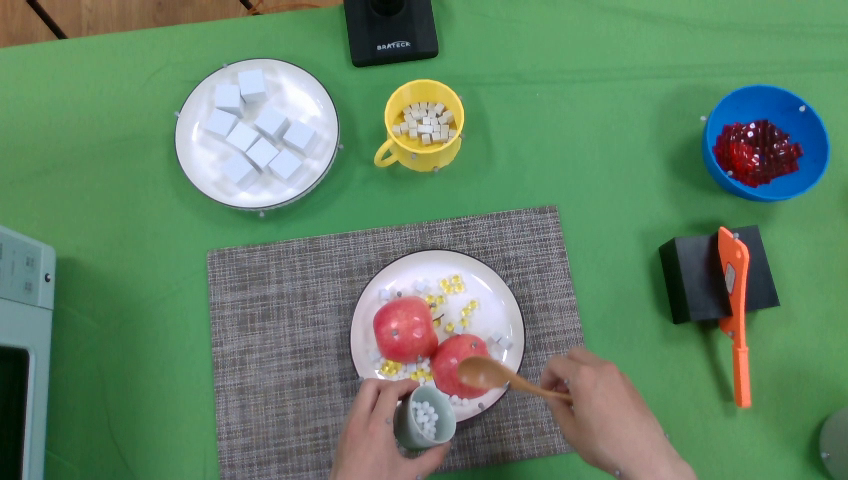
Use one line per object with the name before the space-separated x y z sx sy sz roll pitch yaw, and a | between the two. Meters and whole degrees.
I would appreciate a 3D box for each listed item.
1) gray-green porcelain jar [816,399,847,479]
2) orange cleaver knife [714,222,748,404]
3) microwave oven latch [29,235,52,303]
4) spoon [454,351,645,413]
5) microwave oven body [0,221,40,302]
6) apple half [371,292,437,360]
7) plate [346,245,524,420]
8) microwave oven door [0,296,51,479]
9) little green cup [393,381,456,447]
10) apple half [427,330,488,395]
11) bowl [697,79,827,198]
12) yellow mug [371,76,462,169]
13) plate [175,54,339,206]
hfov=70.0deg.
gray-green porcelain jar | 0.508 0.225 0.659 0.106 0.127 0.105 0 76 0
orange cleaver knife | 0.360 0.086 0.714 0.012 0.077 0.212 -7 100 2
microwave oven latch | -0.465 0.035 0.723 0.030 0.029 0.079 -3 77 -2
spoon | 0.119 0.146 0.604 0.192 0.021 0.042 10 114 31
microwave oven body | -0.598 0.195 0.584 0.326 0.261 0.439 -5 77 -2
apple half | -0.025 0.100 0.710 0.075 0.053 0.080 -10 77 0
plate | 0.013 0.110 0.724 0.209 0.038 0.208 0 77 -1
microwave oven door | -0.448 0.223 0.574 0.039 0.245 0.354 -5 76 -1
little green cup | -0.002 0.182 0.627 0.062 0.039 0.061 20 41 -18
apple half | 0.042 0.144 0.710 0.081 0.033 0.081 0 74 0
bowl | 0.410 -0.116 0.764 0.151 0.077 0.150 0 77 0
yellow mug | -0.015 -0.140 0.772 0.131 0.064 0.099 -39 79 -9
plate | -0.212 -0.140 0.785 0.208 0.039 0.206 0 77 0
